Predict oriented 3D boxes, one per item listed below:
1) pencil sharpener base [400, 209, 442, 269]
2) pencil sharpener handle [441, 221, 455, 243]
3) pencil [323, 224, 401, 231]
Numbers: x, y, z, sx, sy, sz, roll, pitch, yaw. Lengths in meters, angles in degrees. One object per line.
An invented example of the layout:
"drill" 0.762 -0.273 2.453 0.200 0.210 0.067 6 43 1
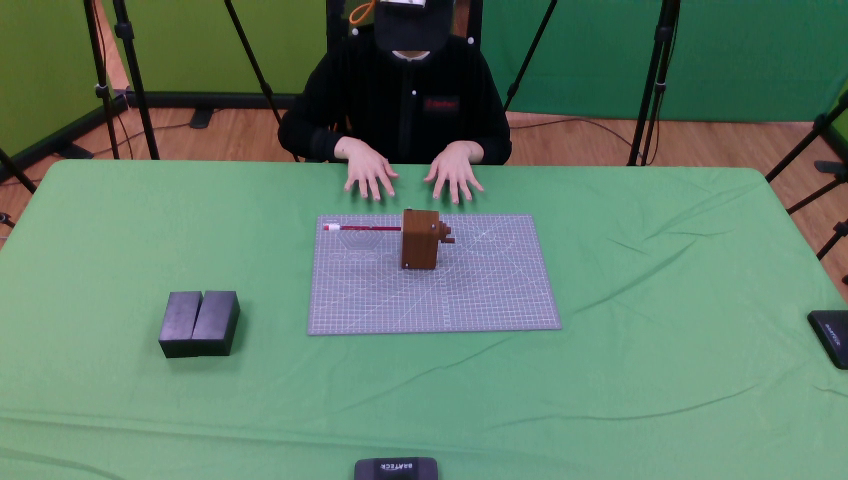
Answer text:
"pencil sharpener base" -0.006 0.000 1.134 0.077 0.107 0.061 2 46 -2
"pencil sharpener handle" 0.046 -0.011 1.131 0.030 0.068 0.036 2 65 -2
"pencil" -0.088 -0.021 1.113 0.194 0.012 0.012 2 46 -2
